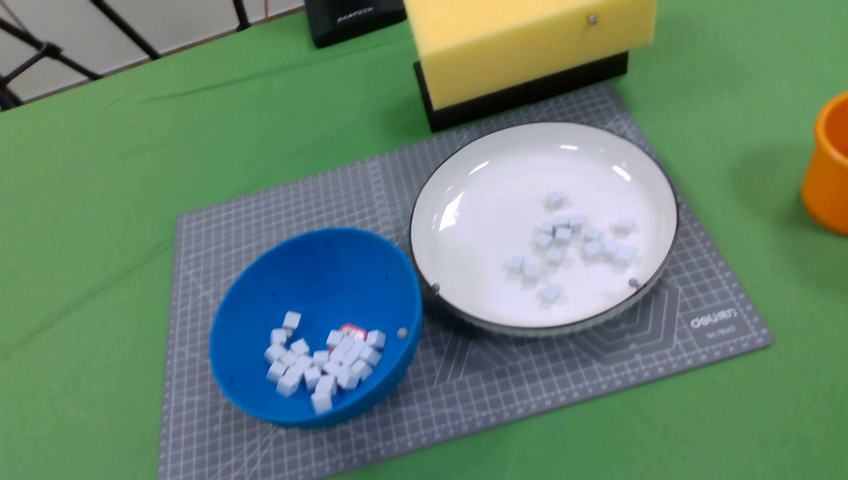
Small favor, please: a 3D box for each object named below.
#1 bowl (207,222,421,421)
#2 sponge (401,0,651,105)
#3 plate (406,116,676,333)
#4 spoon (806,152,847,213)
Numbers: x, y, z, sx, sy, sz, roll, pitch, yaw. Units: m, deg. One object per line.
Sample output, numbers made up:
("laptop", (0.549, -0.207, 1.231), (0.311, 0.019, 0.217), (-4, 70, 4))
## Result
("bowl", (-0.069, 0.069, 0.442), (0.151, 0.077, 0.150), (-7, 52, 9))
("sponge", (0.087, -0.211, 0.561), (0.207, 0.061, 0.117), (-16, 52, 2))
("plate", (0.090, -0.015, 0.488), (0.209, 0.038, 0.207), (-7, 53, 10))
("spoon", (0.350, -0.087, 0.408), (0.022, 0.194, 0.041), (9, 46, -36))
